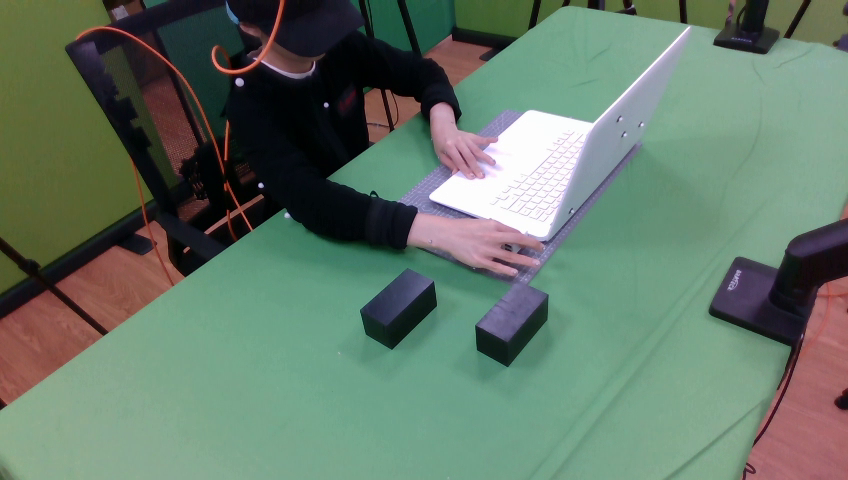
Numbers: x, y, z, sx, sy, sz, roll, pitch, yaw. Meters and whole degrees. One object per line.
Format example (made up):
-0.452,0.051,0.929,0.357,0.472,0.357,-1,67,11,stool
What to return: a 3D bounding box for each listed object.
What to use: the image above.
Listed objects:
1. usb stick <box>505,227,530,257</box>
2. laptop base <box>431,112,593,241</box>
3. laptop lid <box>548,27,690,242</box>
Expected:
0.149,-0.001,0.939,0.021,0.027,0.059,22,46,30,usb stick
0.207,-0.129,1.100,0.233,0.023,0.355,20,47,34,laptop base
0.310,-0.168,0.949,0.013,0.242,0.358,33,52,20,laptop lid
